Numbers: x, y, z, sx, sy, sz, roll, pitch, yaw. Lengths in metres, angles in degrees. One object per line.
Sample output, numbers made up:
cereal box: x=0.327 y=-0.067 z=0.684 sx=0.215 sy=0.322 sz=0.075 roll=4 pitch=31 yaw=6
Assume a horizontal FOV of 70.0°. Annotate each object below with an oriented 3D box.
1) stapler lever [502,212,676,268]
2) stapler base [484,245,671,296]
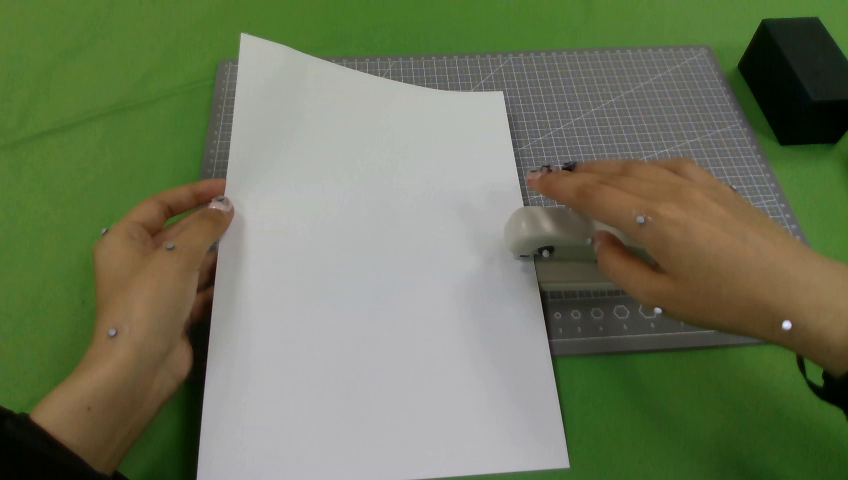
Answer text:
stapler lever: x=0.111 y=0.001 z=0.401 sx=0.118 sy=0.040 sz=0.026 roll=-1 pitch=58 yaw=-4
stapler base: x=0.108 y=0.015 z=0.421 sx=0.131 sy=0.024 sz=0.041 roll=-1 pitch=58 yaw=-4
